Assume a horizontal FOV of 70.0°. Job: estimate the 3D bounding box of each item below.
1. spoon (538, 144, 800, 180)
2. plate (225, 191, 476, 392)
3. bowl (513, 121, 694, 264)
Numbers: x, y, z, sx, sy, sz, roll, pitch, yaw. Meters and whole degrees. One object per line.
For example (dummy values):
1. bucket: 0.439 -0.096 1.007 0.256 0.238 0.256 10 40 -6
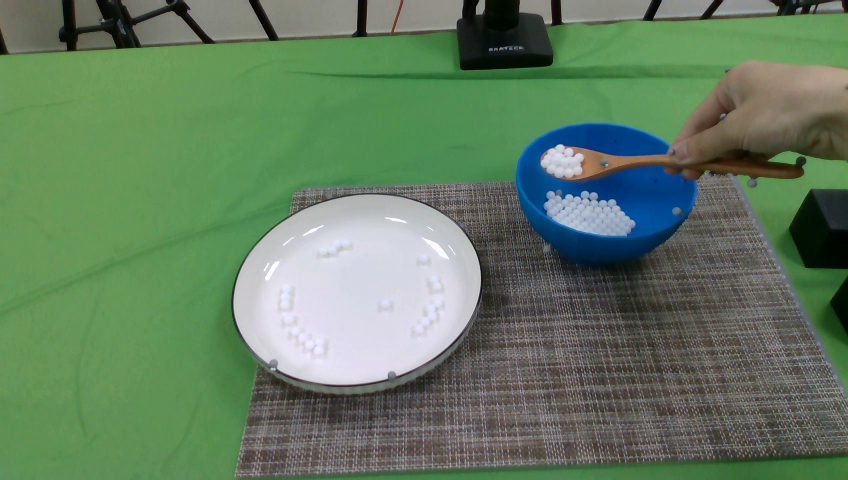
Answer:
1. spoon: 0.173 -0.058 0.459 0.192 0.022 0.041 8 48 43
2. plate: -0.059 0.041 0.516 0.207 0.039 0.205 -1 47 2
3. bowl: 0.153 -0.031 0.543 0.151 0.077 0.150 -1 47 2
